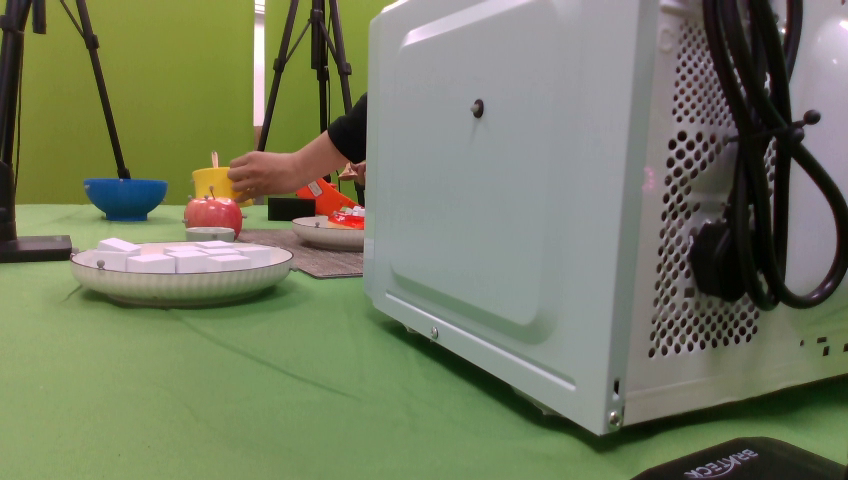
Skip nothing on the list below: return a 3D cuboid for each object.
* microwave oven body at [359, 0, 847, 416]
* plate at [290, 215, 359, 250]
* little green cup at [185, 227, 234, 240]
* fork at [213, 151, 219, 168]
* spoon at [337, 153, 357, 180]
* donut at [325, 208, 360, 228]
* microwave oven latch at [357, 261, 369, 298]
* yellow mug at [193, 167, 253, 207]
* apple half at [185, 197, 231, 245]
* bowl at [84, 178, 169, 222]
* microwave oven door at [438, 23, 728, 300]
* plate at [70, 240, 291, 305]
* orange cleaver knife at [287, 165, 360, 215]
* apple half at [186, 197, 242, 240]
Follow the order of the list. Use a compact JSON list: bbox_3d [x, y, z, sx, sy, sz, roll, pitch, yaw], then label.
[{"bbox_3d":[0.211,-0.047,0.474,0.444,0.260,0.324,-1,7,-28],"label":"microwave oven body"},{"bbox_3d":[-0.110,-0.014,0.974,0.209,0.038,0.209,3,8,0],"label":"plate"},{"bbox_3d":[-0.285,0.005,0.805,0.061,0.038,0.061,3,8,0],"label":"little green cup"},{"bbox_3d":[-0.494,-0.143,1.442,0.028,0.018,0.206,-2,52,-20],"label":"fork"},{"bbox_3d":[-0.160,-0.159,1.272,0.041,0.021,0.193,-9,25,-1],"label":"spoon"},{"bbox_3d":[-0.110,-0.025,0.974,0.099,0.048,0.099,5,8,0],"label":"donut"},{"bbox_3d":[-0.019,0.033,0.530,0.079,0.029,0.030,-1,7,-26],"label":"microwave oven latch"},{"bbox_3d":[-0.356,-0.095,1.096,0.130,0.064,0.100,-6,-1,43],"label":"yellow mug"},{"bbox_3d":[-0.337,-0.031,0.928,0.032,0.081,0.082,13,12,37],"label":"apple half"},{"bbox_3d":[-0.584,-0.078,1.194,0.151,0.077,0.151,3,8,0],"label":"bowl"},{"bbox_3d":[0.181,-0.073,0.620,0.358,0.243,0.039,-2,8,-29],"label":"microwave oven door"},{"bbox_3d":[-0.242,0.031,0.618,0.208,0.039,0.207,2,8,0],"label":"plate"},{"bbox_3d":[-0.211,-0.092,1.382,0.212,0.077,0.012,34,2,-15],"label":"orange cleaver knife"},{"bbox_3d":[-0.307,-0.026,0.905,0.053,0.074,0.081,14,10,37],"label":"apple half"}]
